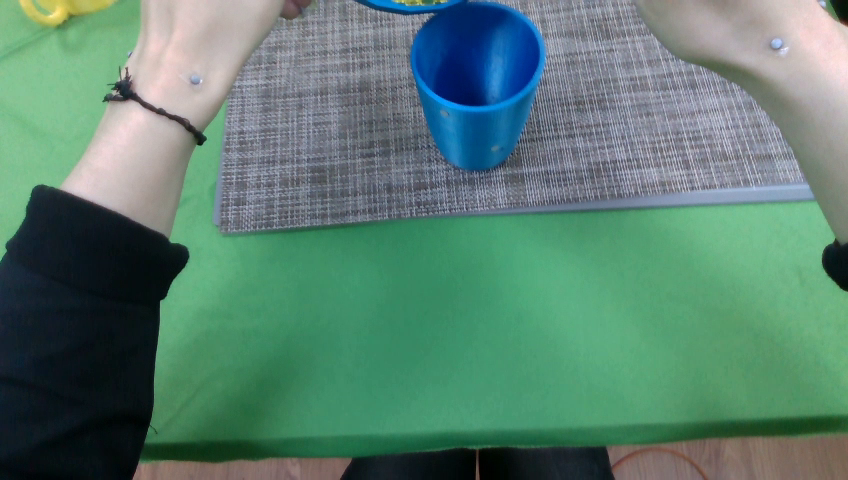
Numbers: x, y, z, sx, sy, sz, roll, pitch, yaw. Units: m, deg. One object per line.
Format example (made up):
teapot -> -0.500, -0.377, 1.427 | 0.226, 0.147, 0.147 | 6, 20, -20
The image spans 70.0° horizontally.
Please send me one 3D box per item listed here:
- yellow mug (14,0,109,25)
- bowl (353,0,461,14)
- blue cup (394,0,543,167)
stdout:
yellow mug -> -0.319, -0.247, 0.523 | 0.100, 0.064, 0.130 | 7, 69, 5
bowl -> -0.016, -0.207, 0.366 | 0.152, 0.076, 0.151 | -1, 97, -11
blue cup -> 0.035, -0.100, 0.422 | 0.092, 0.101, 0.092 | -1, 68, 4
